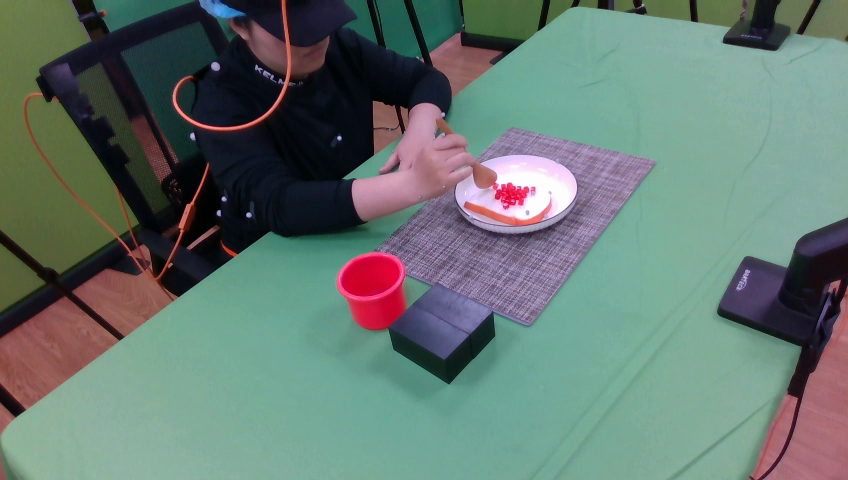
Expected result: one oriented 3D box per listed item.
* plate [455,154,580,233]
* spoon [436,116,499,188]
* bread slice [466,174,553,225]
[{"bbox_3d":[0.159,-0.076,1.028,0.209,0.038,0.208,-5,40,5],"label":"plate"},{"bbox_3d":[0.069,-0.137,0.969,0.041,0.195,0.021,-34,46,14],"label":"spoon"},{"bbox_3d":[0.152,-0.067,1.023,0.130,0.019,0.105,23,50,33],"label":"bread slice"}]
